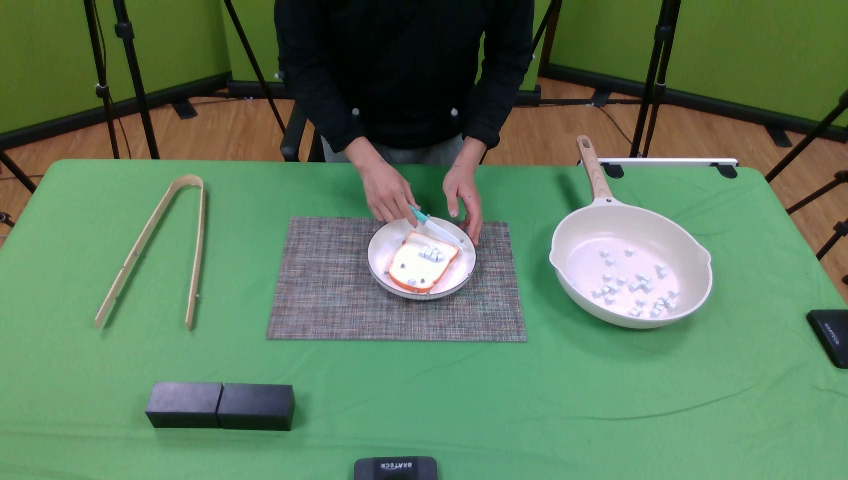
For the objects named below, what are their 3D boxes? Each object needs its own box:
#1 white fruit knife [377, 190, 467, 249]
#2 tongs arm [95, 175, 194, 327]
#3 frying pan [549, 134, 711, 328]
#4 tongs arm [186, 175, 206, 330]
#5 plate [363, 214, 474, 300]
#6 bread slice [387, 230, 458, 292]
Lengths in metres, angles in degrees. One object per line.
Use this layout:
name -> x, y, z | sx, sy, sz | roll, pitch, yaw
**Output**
white fruit knife -> -0.003, -0.039, 1.156 | 0.207, 0.027, 0.016 | 33, 57, 11
tongs arm -> -0.515, 0.006, 1.142 | 0.051, 0.026, 0.382 | 4, 45, -2
frying pan -> 0.372, -0.035, 1.203 | 0.307, 0.103, 0.484 | -1, 55, -6
tongs arm -> -0.436, 0.009, 1.151 | 0.028, 0.028, 0.385 | -7, 47, -8
plate -> -0.010, 0.036, 1.146 | 0.208, 0.039, 0.206 | 2, 46, -2
bread slice -> -0.007, 0.043, 1.142 | 0.107, 0.018, 0.134 | 18, 46, 14
